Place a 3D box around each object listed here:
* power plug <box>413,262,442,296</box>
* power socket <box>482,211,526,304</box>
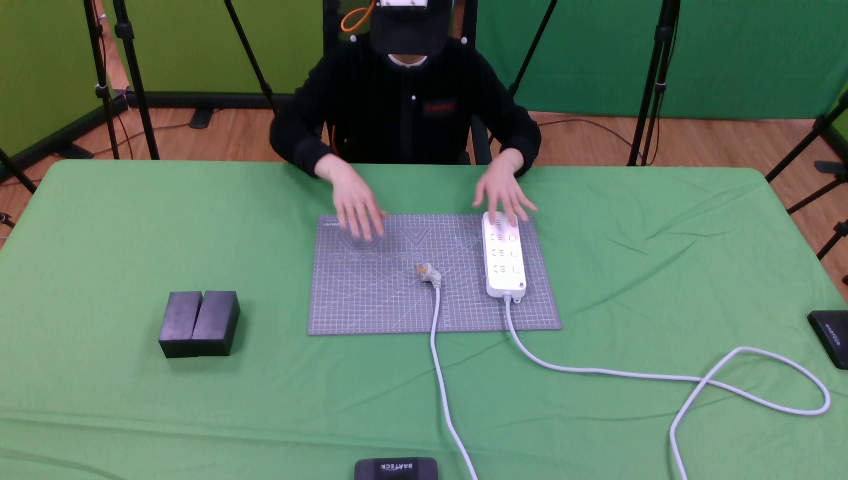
[{"bbox_3d":[0.007,0.067,1.112,0.053,0.035,0.072,12,24,-13],"label":"power plug"},{"bbox_3d":[0.153,0.025,1.174,0.072,0.033,0.225,2,46,0],"label":"power socket"}]
